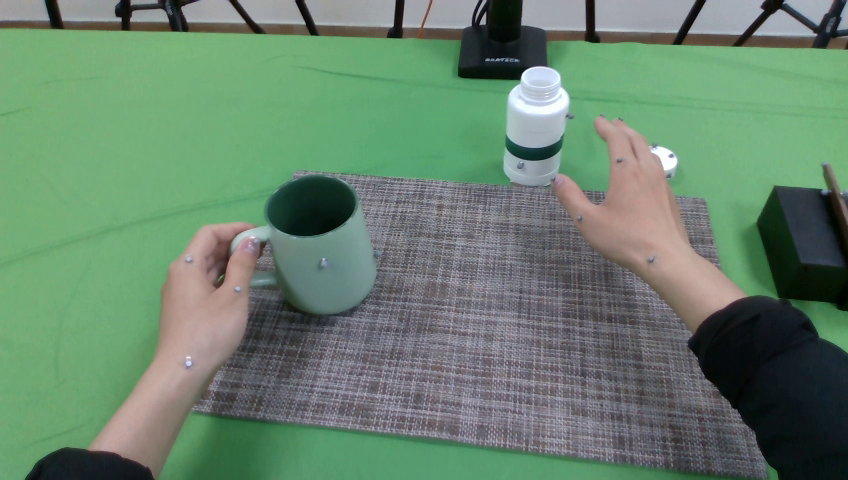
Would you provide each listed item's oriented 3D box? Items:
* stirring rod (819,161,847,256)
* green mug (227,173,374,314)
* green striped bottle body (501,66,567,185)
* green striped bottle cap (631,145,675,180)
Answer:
[{"bbox_3d":[0.371,-0.010,0.534,0.006,0.014,0.174,4,48,12],"label":"stirring rod"},{"bbox_3d":[-0.110,0.009,0.538,0.125,0.106,0.091,-16,49,-11],"label":"green mug"},{"bbox_3d":[0.116,-0.122,0.644,0.063,0.120,0.062,-2,48,2],"label":"green striped bottle body"},{"bbox_3d":[0.255,-0.086,0.675,0.044,0.020,0.044,0,44,1],"label":"green striped bottle cap"}]
